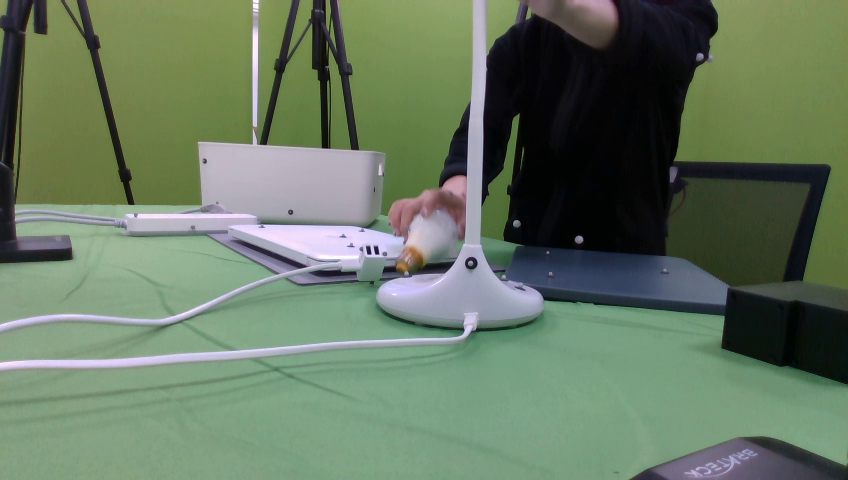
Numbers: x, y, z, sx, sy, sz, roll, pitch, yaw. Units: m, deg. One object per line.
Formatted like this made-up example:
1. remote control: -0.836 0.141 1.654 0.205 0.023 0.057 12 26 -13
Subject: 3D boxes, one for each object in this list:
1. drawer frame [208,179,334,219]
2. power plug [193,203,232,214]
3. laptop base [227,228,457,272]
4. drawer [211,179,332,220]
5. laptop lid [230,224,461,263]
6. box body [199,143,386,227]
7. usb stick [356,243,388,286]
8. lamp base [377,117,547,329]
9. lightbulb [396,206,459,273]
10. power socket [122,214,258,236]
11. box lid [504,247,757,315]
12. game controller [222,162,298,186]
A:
1. drawer frame: -0.326 -0.093 1.328 0.213 0.082 0.202 -1 5 6
2. power plug: -0.394 -0.042 1.139 0.072 0.052 0.035 -14 1 31
3. laptop base: -0.122 0.012 0.889 0.237 0.023 0.352 1 7 -35
4. drawer: -0.328 -0.095 1.332 0.212 0.073 0.194 5 8 6
5. laptop lid: -0.119 0.000 0.889 0.243 0.013 0.355 1 7 -33
6. box body: -0.276 -0.124 1.335 0.364 0.160 0.254 3 7 1
7. usb stick: -0.058 0.029 0.658 0.027 0.059 0.021 -5 52 -18
8. lamp base: 0.041 -0.019 0.551 0.161 0.180 0.179 1 10 -10
9. lightbulb: 0.001 0.003 0.707 0.059 0.059 0.108 7 37 31
10. power socket: -0.398 -0.028 1.049 0.228 0.032 0.072 -3 8 -34
11. box lid: 0.244 0.044 0.793 0.263 0.015 0.372 4 7 10
12. game controller: -0.357 -0.143 1.321 0.156 0.051 0.097 1 2 -16
